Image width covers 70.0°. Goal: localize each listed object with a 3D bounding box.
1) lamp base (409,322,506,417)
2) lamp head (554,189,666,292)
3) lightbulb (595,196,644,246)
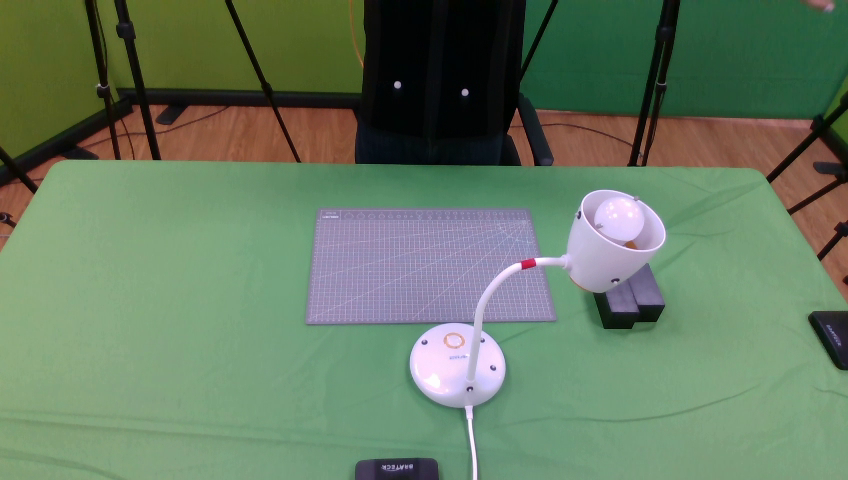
[{"bbox_3d":[0.063,0.160,0.941,0.161,0.181,0.178,-10,50,-13],"label":"lamp base"},{"bbox_3d":[0.234,0.012,0.796,0.113,0.123,0.111,13,43,-12],"label":"lamp head"},{"bbox_3d":[0.243,-0.008,0.784,0.059,0.108,0.059,8,40,-7],"label":"lightbulb"}]
